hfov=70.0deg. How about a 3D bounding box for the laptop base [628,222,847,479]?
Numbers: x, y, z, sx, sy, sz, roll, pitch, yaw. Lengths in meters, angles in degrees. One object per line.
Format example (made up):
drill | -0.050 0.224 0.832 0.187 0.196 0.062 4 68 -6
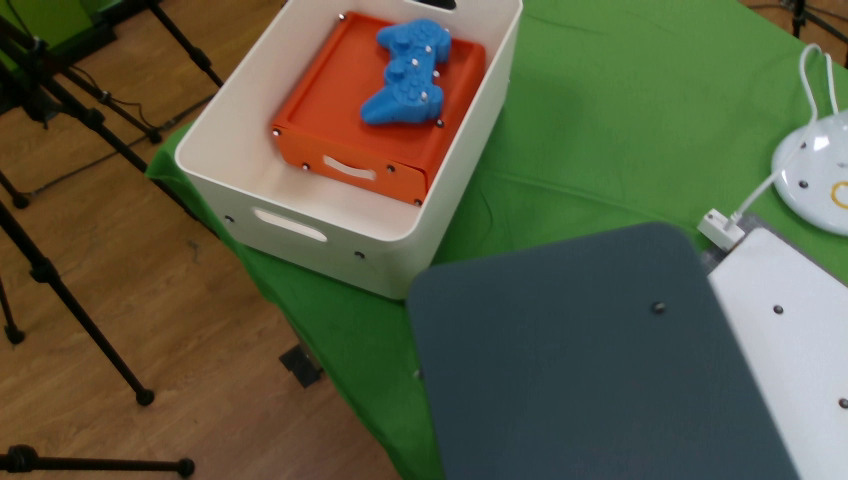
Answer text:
laptop base | 0.414 0.161 0.613 0.235 0.023 0.351 -40 67 -15

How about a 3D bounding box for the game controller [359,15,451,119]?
game controller | -0.021 -0.212 0.729 0.097 0.052 0.154 8 61 1

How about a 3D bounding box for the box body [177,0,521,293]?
box body | -0.064 -0.144 0.711 0.253 0.161 0.362 19 63 11

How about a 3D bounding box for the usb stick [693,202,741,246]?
usb stick | 0.342 -0.014 0.697 0.021 0.027 0.058 -33 68 -21

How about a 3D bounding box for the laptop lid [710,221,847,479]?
laptop lid | 0.412 0.156 0.602 0.241 0.013 0.353 -38 66 -15

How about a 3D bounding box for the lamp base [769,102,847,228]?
lamp base | 0.508 -0.132 0.683 0.160 0.182 0.178 9 58 6

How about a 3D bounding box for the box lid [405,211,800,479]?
box lid | 0.143 0.158 0.469 0.263 0.015 0.368 -12 68 -5
